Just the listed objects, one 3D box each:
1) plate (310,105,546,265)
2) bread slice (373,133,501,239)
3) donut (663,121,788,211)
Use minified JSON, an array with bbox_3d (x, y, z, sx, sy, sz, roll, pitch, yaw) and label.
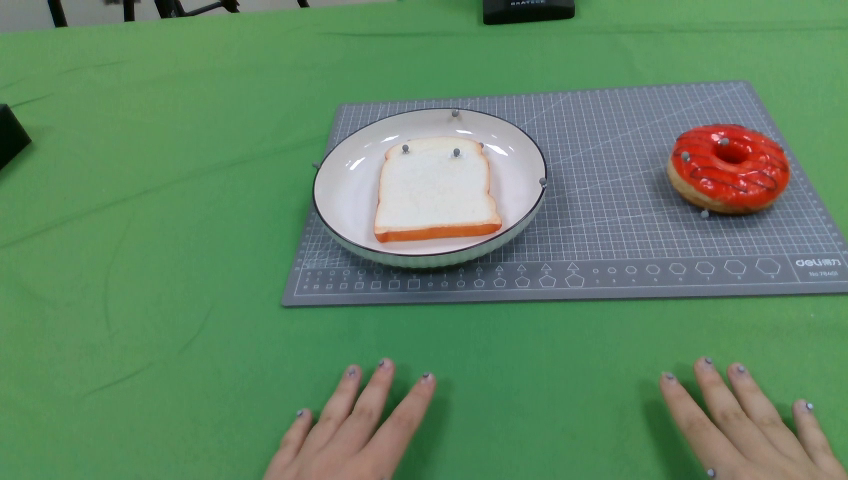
[{"bbox_3d":[0.005,-0.049,0.545,0.209,0.038,0.207,-3,45,4],"label":"plate"},{"bbox_3d":[0.007,-0.052,0.550,0.107,0.018,0.133,-6,45,0],"label":"bread slice"},{"bbox_3d":[0.258,-0.064,0.521,0.099,0.049,0.098,-2,47,3],"label":"donut"}]
